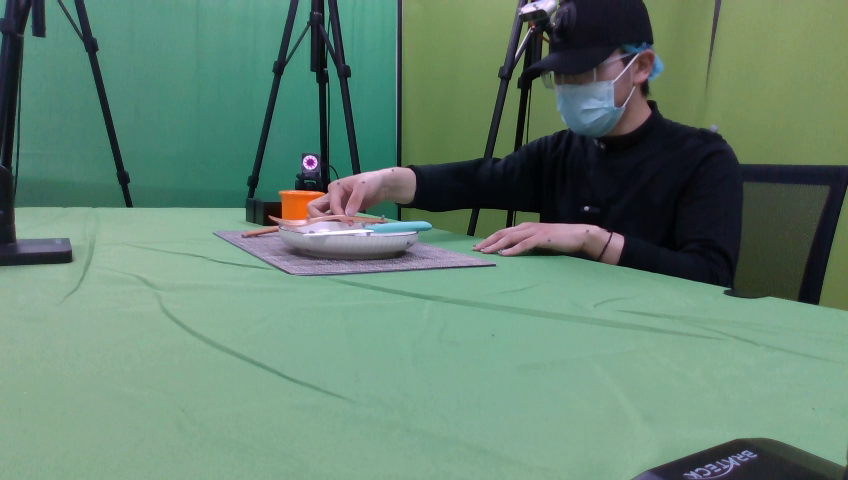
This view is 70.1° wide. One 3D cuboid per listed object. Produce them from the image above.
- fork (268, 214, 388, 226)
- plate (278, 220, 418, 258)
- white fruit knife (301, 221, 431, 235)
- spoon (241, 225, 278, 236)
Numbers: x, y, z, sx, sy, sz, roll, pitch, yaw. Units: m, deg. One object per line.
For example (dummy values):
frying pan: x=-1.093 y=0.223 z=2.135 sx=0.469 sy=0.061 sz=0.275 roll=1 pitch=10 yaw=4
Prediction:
fork: x=-0.147 y=-0.033 z=0.964 sx=0.208 sy=0.018 sz=0.028 roll=-4 pitch=15 yaw=-34
plate: x=-0.114 y=-0.002 z=0.914 sx=0.209 sy=0.038 sz=0.209 roll=2 pitch=8 yaw=0
white fruit knife: x=-0.079 y=-0.016 z=0.858 sx=0.208 sy=0.016 sz=0.027 roll=-4 pitch=13 yaw=-38
spoon: x=-0.232 y=-0.021 z=1.082 sx=0.195 sy=0.021 sz=0.041 roll=-3 pitch=27 yaw=-37
